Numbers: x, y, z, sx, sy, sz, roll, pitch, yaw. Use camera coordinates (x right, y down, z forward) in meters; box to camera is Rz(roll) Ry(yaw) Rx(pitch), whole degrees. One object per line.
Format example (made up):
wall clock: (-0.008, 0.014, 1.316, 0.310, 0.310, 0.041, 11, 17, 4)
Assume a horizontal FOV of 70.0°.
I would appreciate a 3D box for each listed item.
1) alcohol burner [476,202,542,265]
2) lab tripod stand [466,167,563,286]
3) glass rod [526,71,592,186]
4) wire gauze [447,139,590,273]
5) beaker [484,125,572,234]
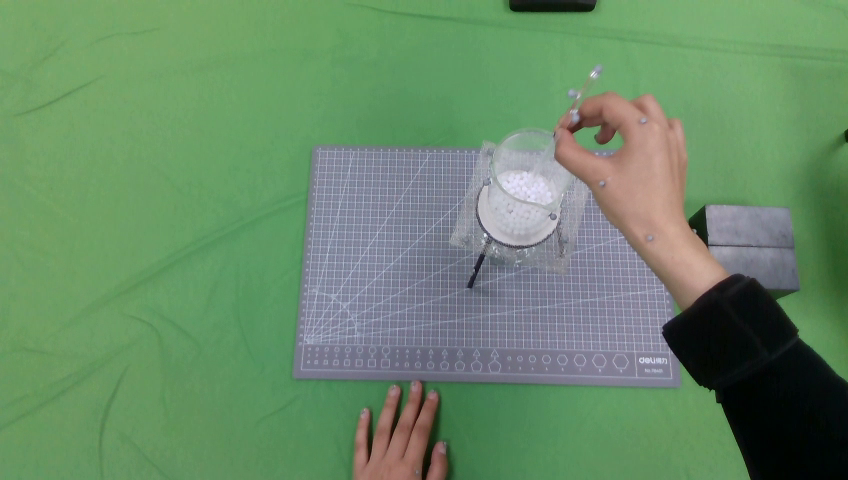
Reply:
alcohol burner: (0.099, -0.012, 0.696, 0.078, 0.120, 0.077, -1, 74, 2)
lab tripod stand: (0.095, -0.019, 0.689, 0.148, 0.132, 0.147, -1, 73, 2)
glass rod: (0.109, -0.085, 0.513, 0.008, 0.200, 0.008, 1, 73, -3)
wire gauze: (0.100, -0.037, 0.625, 0.121, 0.011, 0.124, 18, 72, 5)
beaker: (0.096, -0.050, 0.579, 0.074, 0.101, 0.083, -26, 74, -7)
